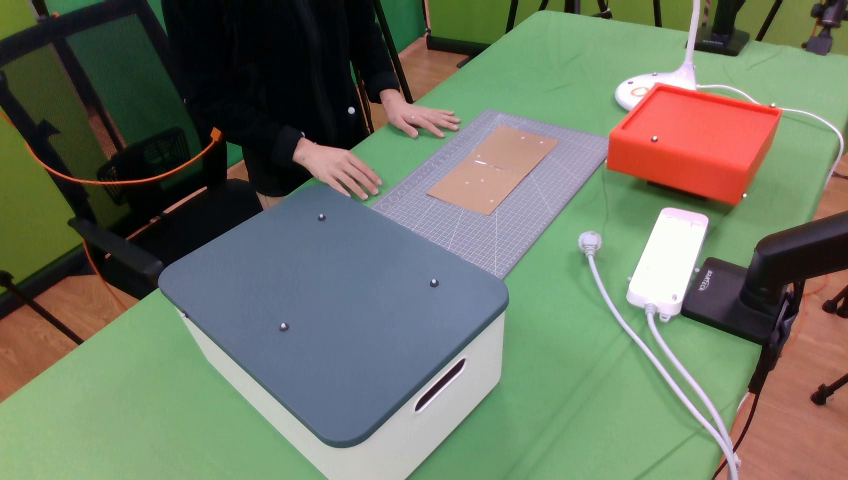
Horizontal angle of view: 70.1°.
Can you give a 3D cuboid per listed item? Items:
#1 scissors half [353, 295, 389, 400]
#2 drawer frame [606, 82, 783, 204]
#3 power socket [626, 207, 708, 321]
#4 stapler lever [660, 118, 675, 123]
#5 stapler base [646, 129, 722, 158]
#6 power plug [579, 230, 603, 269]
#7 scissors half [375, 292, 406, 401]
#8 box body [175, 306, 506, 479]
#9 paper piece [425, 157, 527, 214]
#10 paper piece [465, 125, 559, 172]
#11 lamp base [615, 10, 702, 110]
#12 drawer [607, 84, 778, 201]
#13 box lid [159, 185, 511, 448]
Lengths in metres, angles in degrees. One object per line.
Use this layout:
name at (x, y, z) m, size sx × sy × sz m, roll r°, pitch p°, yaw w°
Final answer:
scissors half at (-0.068, 0.142, 0.818) m, size 0.040 × 0.013 × 0.174 m, roll -19°, pitch 44°, yaw -1°
drawer frame at (0.441, -0.167, 0.995) m, size 0.212 × 0.083 × 0.202 m, roll 23°, pitch 48°, yaw 30°
power socket at (0.360, 0.026, 0.886) m, size 0.072 × 0.033 × 0.227 m, roll 16°, pitch 46°, yaw 26°
stapler lever at (0.436, -0.192, 1.014) m, size 0.118 × 0.040 × 0.026 m, roll -15°, pitch 24°, yaw -16°
stapler base at (0.439, -0.167, 1.023) m, size 0.131 × 0.024 × 0.041 m, roll -17°, pitch 24°, yaw -15°
power plug at (0.245, 0.018, 0.909) m, size 0.035 × 0.053 × 0.072 m, roll 16°, pitch 65°, yaw 21°
scissors half at (-0.048, 0.139, 0.817) m, size 0.040 × 0.013 × 0.174 m, roll -3°, pitch 45°, yaw 8°
box body at (-0.105, 0.111, 0.751) m, size 0.361 × 0.161 × 0.255 m, roll 28°, pitch 52°, yaw 35°
paper piece at (0.095, -0.102, 1.089) m, size 0.134 × 0.004 × 0.136 m, roll 22°, pitch 48°, yaw 30°
paper piece at (0.171, -0.177, 1.168) m, size 0.137 × 0.009 × 0.136 m, roll 21°, pitch 44°, yaw 31°
lamp base at (0.484, -0.364, 1.211) m, size 0.180 × 0.181 × 0.159 m, roll -15°, pitch 41°, yaw -14°
drawer at (0.438, -0.167, 0.996) m, size 0.210 × 0.073 × 0.195 m, roll 23°, pitch 48°, yaw 30°
box lid at (-0.114, 0.054, 0.705) m, size 0.368 × 0.015 × 0.264 m, roll 29°, pitch 51°, yaw 34°
